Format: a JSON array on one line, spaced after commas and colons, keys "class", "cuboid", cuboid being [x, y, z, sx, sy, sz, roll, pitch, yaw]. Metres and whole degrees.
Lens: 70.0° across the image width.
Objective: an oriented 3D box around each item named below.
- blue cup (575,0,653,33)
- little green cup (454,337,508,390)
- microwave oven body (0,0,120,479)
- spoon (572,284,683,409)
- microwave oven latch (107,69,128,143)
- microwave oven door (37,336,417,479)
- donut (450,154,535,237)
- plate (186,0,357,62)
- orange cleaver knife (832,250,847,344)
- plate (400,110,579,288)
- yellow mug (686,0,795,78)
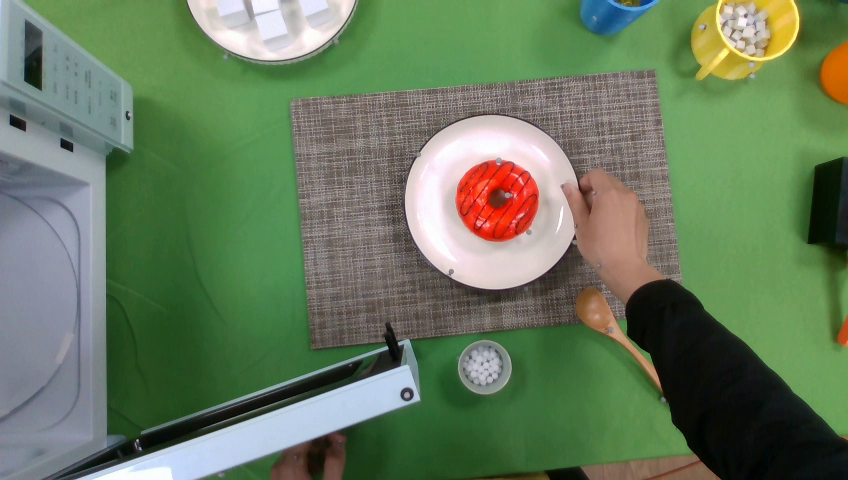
[{"class": "blue cup", "cuboid": [0.220, -0.290, 0.708, 0.093, 0.100, 0.092, 0, 87, -2]}, {"class": "little green cup", "cuboid": [0.064, 0.142, 0.703, 0.061, 0.038, 0.061, 0, 84, -2]}, {"class": "microwave oven body", "cuboid": [-0.493, 0.022, 0.577, 0.326, 0.260, 0.441, -2, 87, -3]}, {"class": "spoon", "cuboid": [0.242, 0.129, 0.716, 0.041, 0.021, 0.193, -42, 90, -19]}, {"class": "microwave oven latch", "cuboid": [-0.355, -0.152, 0.690, 0.030, 0.029, 0.079, -1, 87, -3]}, {"class": "microwave oven door", "cuboid": [-0.178, 0.173, 0.573, 0.356, 0.244, 0.039, -19, 86, -3]}, {"class": "donut", "cuboid": [0.080, -0.051, 0.703, 0.099, 0.048, 0.099, 0, 88, 0]}, {"class": "plate", "cuboid": [-0.180, -0.311, 0.726, 0.208, 0.039, 0.207, 0, 86, -2]}, {"class": "orange cleaver knife", "cuboid": [0.518, 0.021, 0.706, 0.012, 0.076, 0.212, 10, 115, 1]}, {"class": "plate", "cuboid": [0.075, -0.047, 0.713, 0.209, 0.038, 0.208, 0, 86, -2]}, {"class": "yellow mug", "cuboid": [0.368, -0.244, 0.727, 0.100, 0.064, 0.131, 43, 87, 2]}]
